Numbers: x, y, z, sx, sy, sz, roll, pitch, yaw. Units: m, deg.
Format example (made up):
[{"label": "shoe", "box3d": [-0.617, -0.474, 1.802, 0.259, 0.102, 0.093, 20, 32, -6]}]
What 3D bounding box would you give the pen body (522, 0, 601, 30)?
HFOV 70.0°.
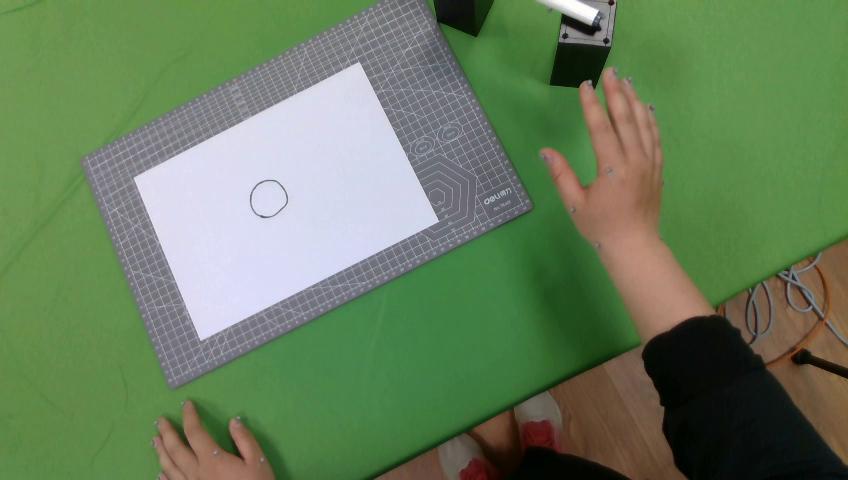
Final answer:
[{"label": "pen body", "box3d": [0.100, -0.236, 0.580, 0.143, 0.017, 0.017, 28, 86, 9]}]
